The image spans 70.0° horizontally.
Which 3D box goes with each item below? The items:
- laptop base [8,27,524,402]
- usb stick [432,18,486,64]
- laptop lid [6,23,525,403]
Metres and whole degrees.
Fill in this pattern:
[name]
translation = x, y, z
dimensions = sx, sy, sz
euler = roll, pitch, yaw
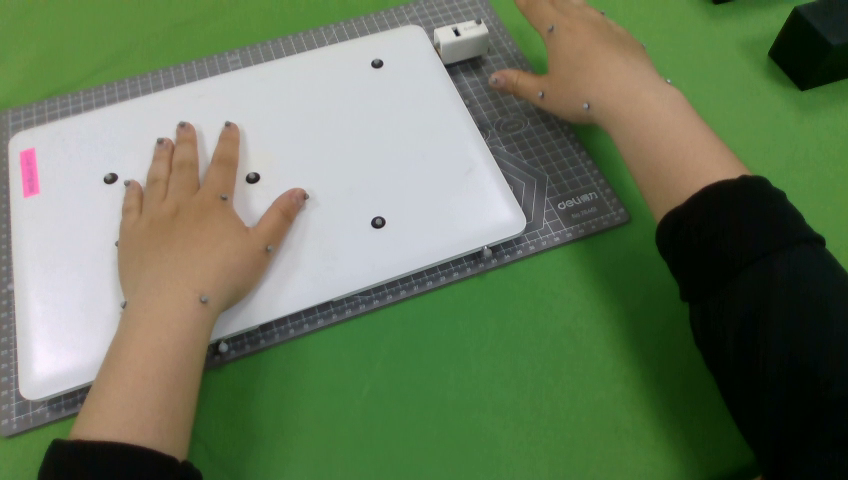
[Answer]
[laptop base]
translation = -0.129, -0.041, 0.468
dimensions = 0.355, 0.023, 0.233
euler = -19, 63, -9
[usb stick]
translation = 0.023, -0.171, 0.527
dimensions = 0.059, 0.027, 0.021
euler = -17, 59, -6
[laptop lid]
translation = -0.128, -0.045, 0.458
dimensions = 0.357, 0.013, 0.239
euler = -17, 63, -8
